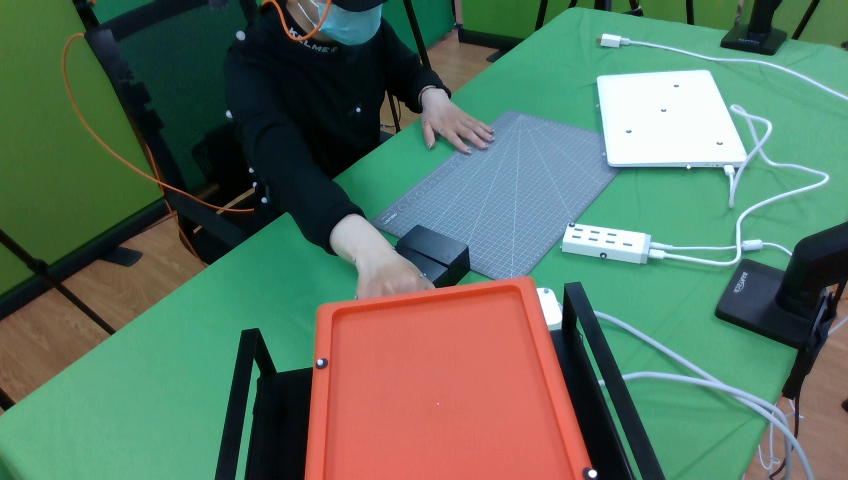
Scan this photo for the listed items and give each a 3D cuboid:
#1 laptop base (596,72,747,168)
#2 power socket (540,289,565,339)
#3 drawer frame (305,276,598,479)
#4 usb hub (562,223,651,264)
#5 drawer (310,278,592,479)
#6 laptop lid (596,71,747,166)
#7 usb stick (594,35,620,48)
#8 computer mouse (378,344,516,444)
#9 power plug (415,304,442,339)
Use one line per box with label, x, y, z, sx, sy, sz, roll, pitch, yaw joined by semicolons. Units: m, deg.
laptop base;0.469;-0.238;1.189;0.235;0.023;0.353;-1;40;11
power socket;0.080;0.112;0.822;0.227;0.033;0.072;-7;41;-1
drawer frame;0.014;0.137;0.486;0.202;0.083;0.212;-8;41;-1
usb hub;0.279;0.005;0.926;0.124;0.025;0.049;10;43;19
drawer;0.013;0.137;0.489;0.195;0.073;0.210;-7;41;0
laptop lid;0.466;-0.248;1.181;0.241;0.013;0.355;1;41;12
usb stick;0.443;-0.482;1.466;0.059;0.021;0.027;9;43;10
computer mouse;0.018;0.126;0.520;0.116;0.041;0.063;13;47;29
power plug;0.005;0.114;0.775;0.035;0.053;0.072;-7;40;8
